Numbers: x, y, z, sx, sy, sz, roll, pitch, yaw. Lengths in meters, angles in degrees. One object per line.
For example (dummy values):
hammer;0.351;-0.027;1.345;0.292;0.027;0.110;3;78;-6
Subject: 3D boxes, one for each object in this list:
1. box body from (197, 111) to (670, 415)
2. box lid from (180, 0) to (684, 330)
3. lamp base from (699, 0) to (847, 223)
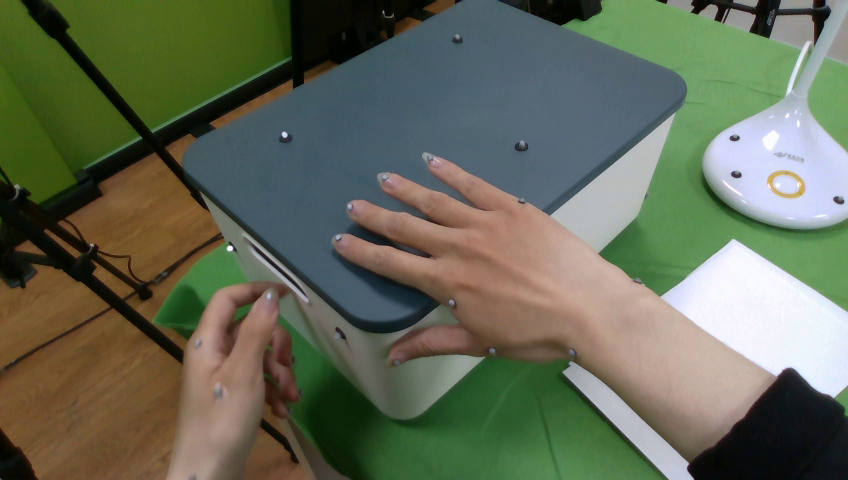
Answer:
box body;0.017;-0.051;0.560;0.364;0.162;0.252;-37;56;-26
box lid;0.012;-0.099;0.505;0.371;0.015;0.261;-37;55;-27
lamp base;0.379;-0.138;0.603;0.160;0.182;0.178;8;46;11
